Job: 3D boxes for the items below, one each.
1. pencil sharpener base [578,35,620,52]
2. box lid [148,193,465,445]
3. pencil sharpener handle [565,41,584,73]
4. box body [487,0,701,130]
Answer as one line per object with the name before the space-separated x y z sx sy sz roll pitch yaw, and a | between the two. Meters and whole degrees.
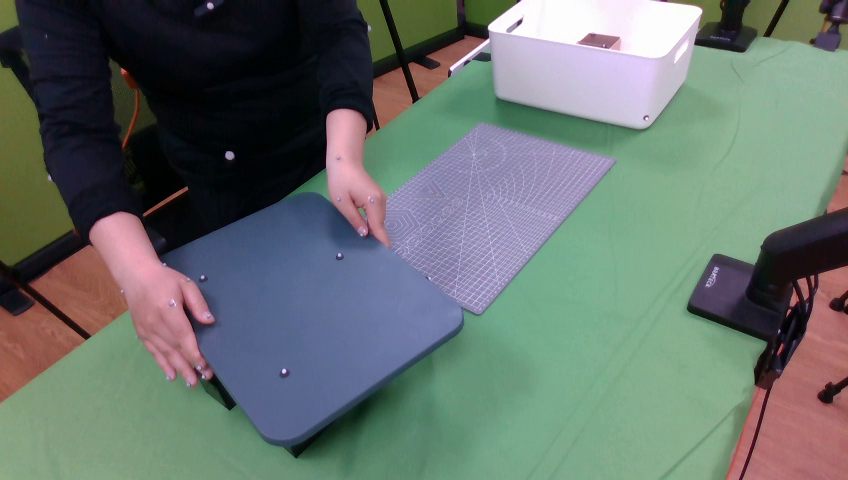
pencil sharpener base | 0.362 -0.367 1.273 0.076 0.107 0.061 20 48 30
box lid | -0.155 0.066 0.746 0.264 0.015 0.368 -30 45 -28
pencil sharpener handle | 0.318 -0.391 1.288 0.030 0.068 0.036 20 40 30
box body | 0.345 -0.379 1.257 0.361 0.161 0.255 20 48 29
